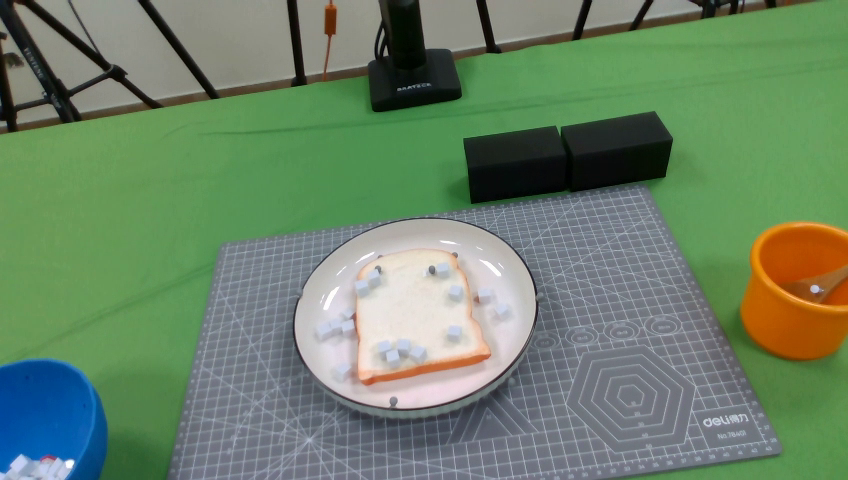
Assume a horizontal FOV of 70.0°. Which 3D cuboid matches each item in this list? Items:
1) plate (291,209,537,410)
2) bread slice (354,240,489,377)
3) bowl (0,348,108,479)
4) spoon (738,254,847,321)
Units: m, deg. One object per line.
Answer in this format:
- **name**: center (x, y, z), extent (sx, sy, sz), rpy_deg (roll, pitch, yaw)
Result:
- **plate**: center (-0.009, 0.056, 0.524), extent (0.209, 0.038, 0.207), rpy_deg (-5, 46, 5)
- **bread slice**: center (-0.012, 0.055, 0.529), extent (0.107, 0.018, 0.133), rpy_deg (-13, 47, -3)
- **bowl**: center (-0.296, 0.163, 0.442), extent (0.151, 0.077, 0.150), rpy_deg (-5, 46, 5)
- **spoon**: center (0.325, 0.010, 0.442), extent (0.022, 0.194, 0.041), rpy_deg (28, 43, -27)
